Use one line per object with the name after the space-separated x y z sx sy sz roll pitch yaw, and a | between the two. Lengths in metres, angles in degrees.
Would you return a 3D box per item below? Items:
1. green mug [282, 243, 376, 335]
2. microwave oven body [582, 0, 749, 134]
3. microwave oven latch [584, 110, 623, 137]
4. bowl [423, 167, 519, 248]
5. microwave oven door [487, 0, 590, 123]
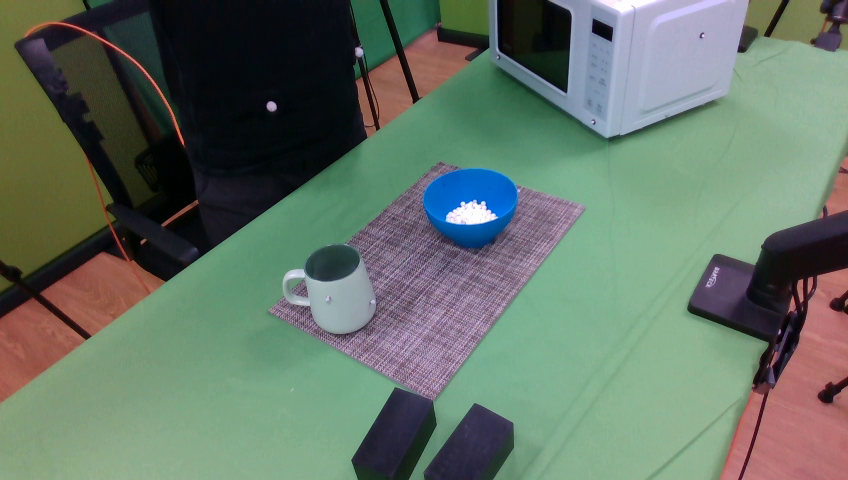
-0.134 0.069 0.838 0.125 0.105 0.092 -2 41 6 | green mug
0.382 -0.445 1.246 0.327 0.261 0.437 -22 42 -16 | microwave oven body
0.337 -0.222 1.142 0.030 0.029 0.078 -21 42 -14 | microwave oven latch
0.076 -0.041 0.958 0.151 0.077 0.150 -4 40 4 | bowl
0.232 -0.420 1.230 0.039 0.245 0.352 -22 43 -16 | microwave oven door
